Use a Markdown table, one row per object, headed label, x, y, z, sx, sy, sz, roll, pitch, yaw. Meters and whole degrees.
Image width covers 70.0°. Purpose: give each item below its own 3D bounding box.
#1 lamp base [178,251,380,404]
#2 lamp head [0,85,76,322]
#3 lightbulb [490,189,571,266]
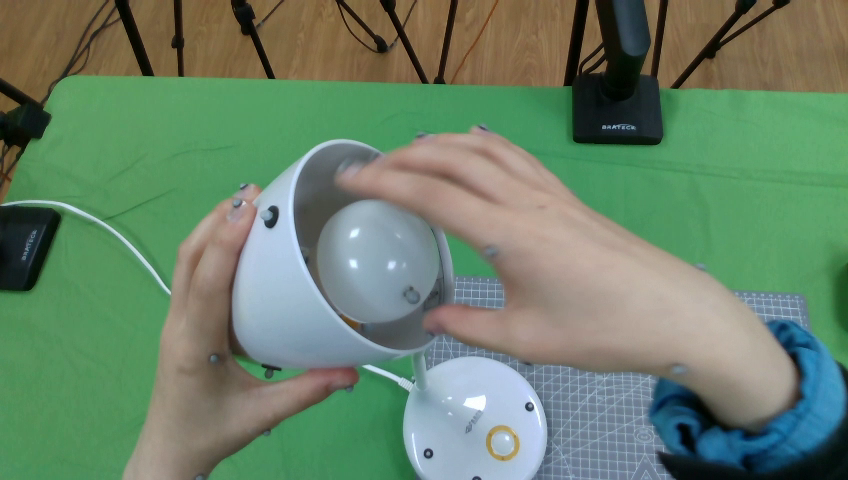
| label | x | y | z | sx | sy | sz | roll | pitch | yaw |
| --- | --- | --- | --- | --- | --- | --- | --- | --- | --- |
| lamp base | -0.139 | 0.072 | 0.560 | 0.179 | 0.181 | 0.160 | 7 | 78 | 4 |
| lamp head | -0.215 | -0.003 | 0.243 | 0.113 | 0.122 | 0.111 | 17 | 64 | -38 |
| lightbulb | 0.102 | -0.018 | 0.611 | 0.059 | 0.060 | 0.106 | -35 | 49 | -7 |
